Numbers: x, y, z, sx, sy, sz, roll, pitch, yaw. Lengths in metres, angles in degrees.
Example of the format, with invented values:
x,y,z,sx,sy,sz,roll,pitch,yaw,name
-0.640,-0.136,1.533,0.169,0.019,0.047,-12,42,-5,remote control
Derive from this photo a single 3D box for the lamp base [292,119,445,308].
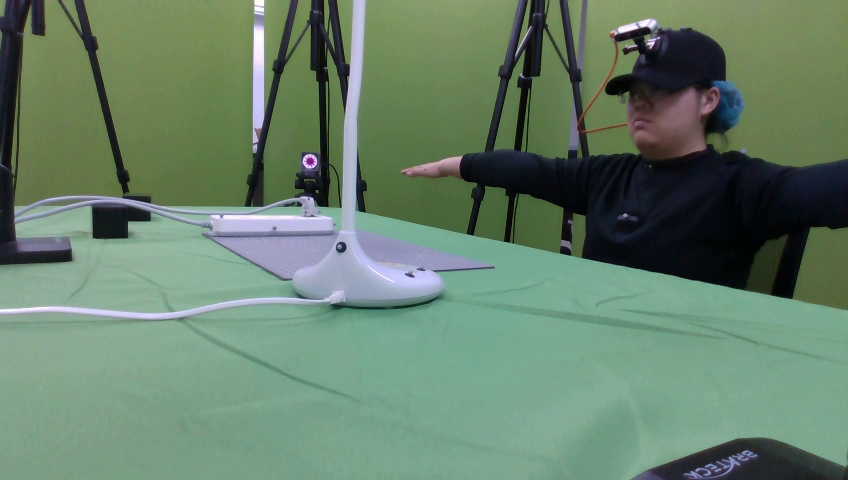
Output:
x,y,z,sx,sy,sz,roll,pitch,yaw,name
-0.056,-0.030,0.616,0.160,0.180,0.179,4,10,8,lamp base

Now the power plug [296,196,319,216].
x,y,z,sx,sy,sz,roll,pitch,yaw,name
-0.219,-0.057,1.142,0.035,0.052,0.072,0,7,-19,power plug

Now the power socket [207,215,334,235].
x,y,z,sx,sy,sz,roll,pitch,yaw,name
-0.270,-0.028,1.082,0.228,0.032,0.072,-2,7,-30,power socket
